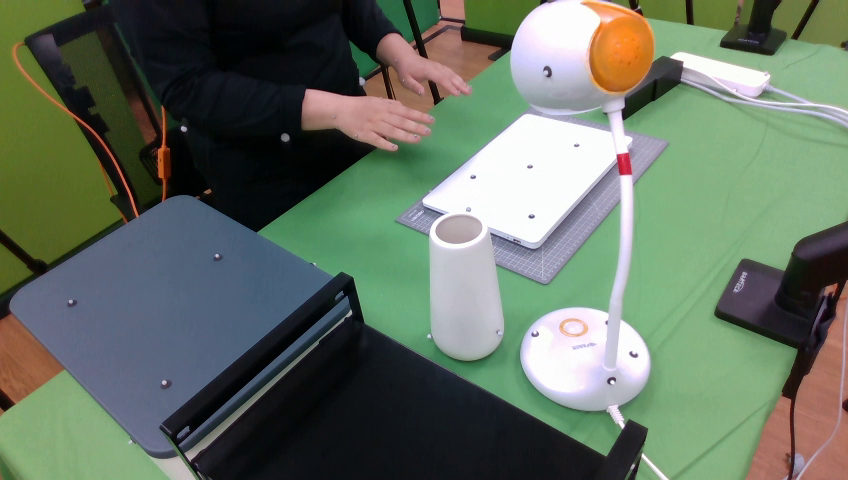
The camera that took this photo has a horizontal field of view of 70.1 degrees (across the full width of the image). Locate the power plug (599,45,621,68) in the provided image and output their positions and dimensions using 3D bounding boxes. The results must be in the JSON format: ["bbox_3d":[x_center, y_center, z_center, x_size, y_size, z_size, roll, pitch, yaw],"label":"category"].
[{"bbox_3d":[0.437,-0.422,1.412,0.053,0.035,0.072,-19,75,-47],"label":"power plug"}]

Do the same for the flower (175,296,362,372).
[{"bbox_3d":[-0.233,0.115,0.832,0.359,0.038,0.044,10,87,33],"label":"flower"}]

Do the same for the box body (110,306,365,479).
[{"bbox_3d":[-0.281,0.128,0.759,0.361,0.161,0.255,24,49,32],"label":"box body"}]

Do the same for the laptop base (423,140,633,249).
[{"bbox_3d":[0.194,-0.117,1.087,0.233,0.023,0.355,20,47,34],"label":"laptop base"}]

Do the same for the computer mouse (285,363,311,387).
[{"bbox_3d":[-0.161,0.158,0.791,0.116,0.041,0.063,26,45,23],"label":"computer mouse"}]

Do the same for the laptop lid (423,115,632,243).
[{"bbox_3d":[0.190,-0.126,1.081,0.239,0.013,0.358,23,48,34],"label":"laptop lid"}]

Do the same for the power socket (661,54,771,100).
[{"bbox_3d":[0.615,-0.349,1.285,0.072,0.033,0.225,-36,48,-28],"label":"power socket"}]

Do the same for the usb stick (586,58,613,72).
[{"bbox_3d":[0.401,-0.399,1.381,0.059,0.027,0.021,0,48,21],"label":"usb stick"}]

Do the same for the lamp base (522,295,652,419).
[{"bbox_3d":[0.201,0.095,0.710,0.161,0.181,0.177,-16,43,-10],"label":"lamp base"}]

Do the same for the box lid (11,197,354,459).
[{"bbox_3d":[-0.288,0.072,0.710,0.368,0.015,0.264,24,50,32],"label":"box lid"}]

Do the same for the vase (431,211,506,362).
[{"bbox_3d":[0.054,0.062,0.757,0.098,0.201,0.097,-3,40,3],"label":"vase"}]

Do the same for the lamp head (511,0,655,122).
[{"bbox_3d":[0.155,-0.168,0.564,0.113,0.113,0.122,-18,23,-12],"label":"lamp head"}]
